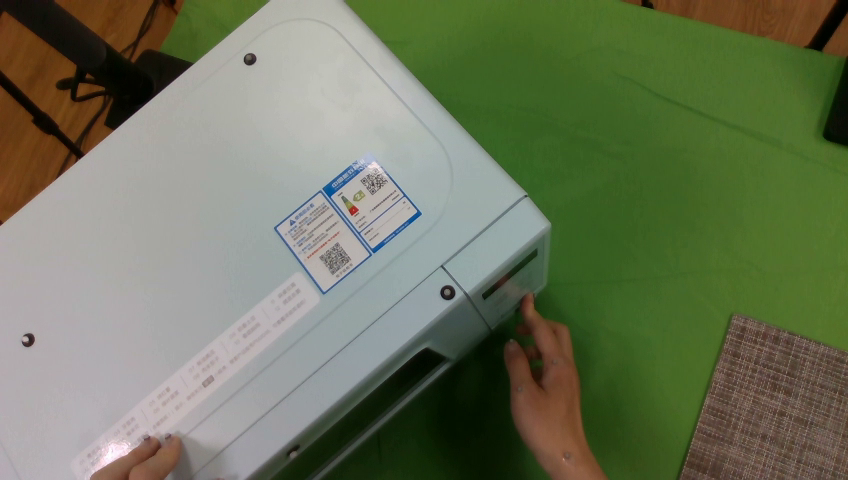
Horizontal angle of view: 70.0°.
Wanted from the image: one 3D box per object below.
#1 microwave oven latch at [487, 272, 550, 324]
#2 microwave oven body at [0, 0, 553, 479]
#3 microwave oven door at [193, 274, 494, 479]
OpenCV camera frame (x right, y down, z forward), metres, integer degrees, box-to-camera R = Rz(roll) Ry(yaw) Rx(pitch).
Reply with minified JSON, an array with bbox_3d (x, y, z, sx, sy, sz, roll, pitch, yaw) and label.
[{"bbox_3d":[0.094,0.053,0.629,0.079,0.030,0.030,-38,73,0],"label":"microwave oven latch"},{"bbox_3d":[-0.151,0.037,0.577,0.441,0.262,0.324,-40,73,0],"label":"microwave oven body"},{"bbox_3d":[-0.093,0.168,0.529,0.356,0.245,0.039,-40,72,-1],"label":"microwave oven door"}]
